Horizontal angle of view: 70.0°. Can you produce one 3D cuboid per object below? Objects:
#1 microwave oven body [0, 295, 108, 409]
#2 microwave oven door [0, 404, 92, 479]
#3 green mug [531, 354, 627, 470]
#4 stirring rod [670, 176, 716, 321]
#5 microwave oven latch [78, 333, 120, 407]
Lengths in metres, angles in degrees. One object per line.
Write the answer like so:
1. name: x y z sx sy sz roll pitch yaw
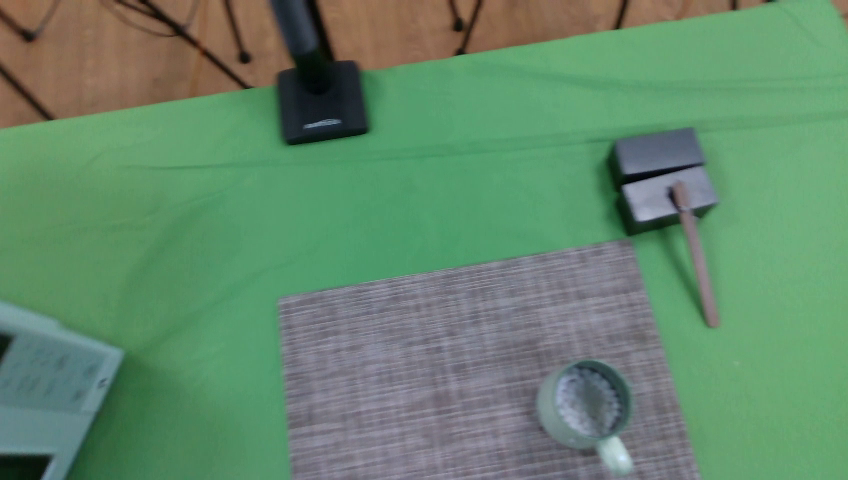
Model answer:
1. microwave oven body: -0.592 0.236 0.589 0.325 0.262 0.440 18 74 9
2. microwave oven door: -0.469 0.316 0.551 0.039 0.245 0.354 17 73 10
3. green mug: 0.173 0.183 0.644 0.092 0.105 0.124 -26 72 -6
4. stirring rod: 0.318 0.010 0.716 0.014 0.006 0.176 -15 92 -3
5. microwave oven latch: -0.388 0.153 0.707 0.030 0.030 0.079 20 74 9
